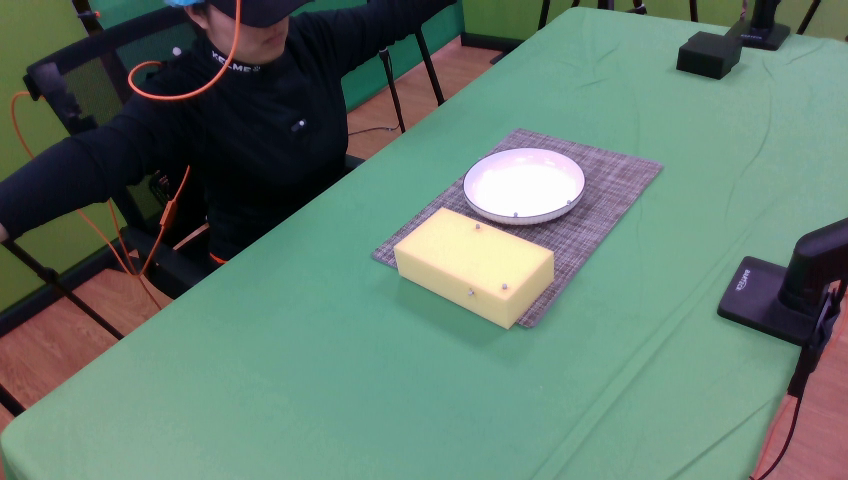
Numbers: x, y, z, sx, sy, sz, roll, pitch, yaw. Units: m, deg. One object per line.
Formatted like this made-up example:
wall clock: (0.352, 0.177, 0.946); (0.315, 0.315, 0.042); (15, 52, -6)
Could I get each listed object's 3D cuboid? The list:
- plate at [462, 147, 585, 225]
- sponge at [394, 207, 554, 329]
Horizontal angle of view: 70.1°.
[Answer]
plate: (0.170, -0.089, 1.041); (0.207, 0.039, 0.206); (-5, 40, 5)
sponge: (0.073, 0.035, 0.895); (0.205, 0.061, 0.118); (24, 50, 33)
